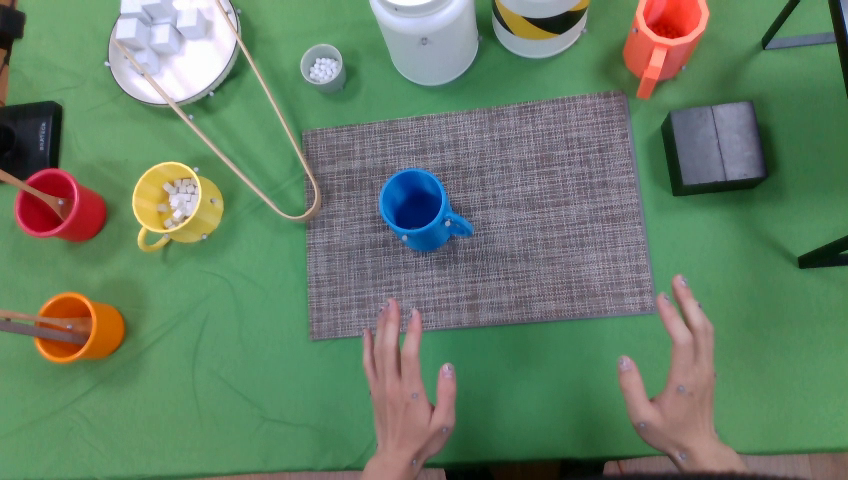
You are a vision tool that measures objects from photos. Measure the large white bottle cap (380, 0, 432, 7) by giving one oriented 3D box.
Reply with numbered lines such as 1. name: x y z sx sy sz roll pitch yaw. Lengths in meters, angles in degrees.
1. large white bottle cap: -0.017 -0.325 0.702 0.114 0.018 0.114 -2 79 8

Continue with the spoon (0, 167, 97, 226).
1. spoon: -0.549 -0.077 0.833 0.195 0.021 0.041 35 82 -31

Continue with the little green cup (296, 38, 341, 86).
1. little green cup: -0.149 -0.252 0.868 0.061 0.039 0.061 -1 80 7

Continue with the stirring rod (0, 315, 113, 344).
1. stirring rod: -0.501 0.114 0.789 0.006 0.178 0.014 -27 53 46

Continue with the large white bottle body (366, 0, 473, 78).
1. large white bottle body: -0.005 -0.309 0.784 0.130 0.185 0.130 -1 78 8

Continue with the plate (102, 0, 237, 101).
1. plate: -0.376 -0.303 0.908 0.207 0.039 0.206 -1 79 7

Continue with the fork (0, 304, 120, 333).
1. fork: -0.511 0.096 0.791 0.209 0.018 0.028 16 77 -34

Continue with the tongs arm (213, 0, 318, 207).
1. tongs arm: -0.238 -0.221 0.857 0.028 0.028 0.386 -28 83 -7

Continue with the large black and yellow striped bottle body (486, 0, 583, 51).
1. large black and yellow striped bottle body: 0.143 -0.342 0.772 0.130 0.185 0.130 -2 78 8

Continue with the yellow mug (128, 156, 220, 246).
1. yellow mug: -0.355 -0.046 0.841 0.099 0.064 0.130 33 86 12

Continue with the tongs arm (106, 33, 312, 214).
1. tongs arm: -0.305 -0.170 0.853 0.051 0.026 0.384 -43 84 -5

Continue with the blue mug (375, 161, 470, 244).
1. blue mug: 0.004 -0.039 0.769 0.116 0.106 0.082 20 82 11

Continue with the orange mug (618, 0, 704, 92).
1. orange mug: 0.297 -0.260 0.780 0.083 0.101 0.126 18 77 11
